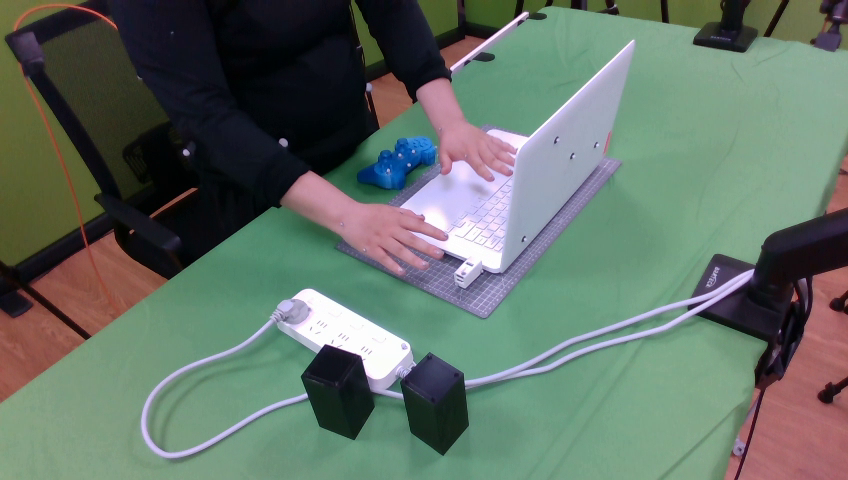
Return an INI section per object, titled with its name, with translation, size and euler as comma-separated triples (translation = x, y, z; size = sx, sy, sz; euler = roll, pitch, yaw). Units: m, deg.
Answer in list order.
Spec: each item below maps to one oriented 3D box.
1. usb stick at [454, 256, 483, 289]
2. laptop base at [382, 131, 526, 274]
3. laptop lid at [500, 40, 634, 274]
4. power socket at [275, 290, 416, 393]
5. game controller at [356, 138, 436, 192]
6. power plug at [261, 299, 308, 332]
[usb stick]
translation = 0.070, 0.044, 0.892
size = 0.021, 0.027, 0.059
euler = 24, 48, 32
[laptop base]
translation = 0.123, -0.081, 1.049
size = 0.233, 0.023, 0.355
euler = 20, 47, 33
[laptop lid]
translation = 0.218, -0.128, 0.905
size = 0.013, 0.242, 0.358
euler = 28, 50, 25
[power socket]
translation = -0.114, 0.132, 0.821
size = 0.225, 0.033, 0.072
euler = 24, 48, 31
[game controller]
translation = -0.048, -0.149, 1.136
size = 0.096, 0.052, 0.155
euler = 26, 51, 29
[power plug]
translation = -0.193, 0.109, 0.830
size = 0.073, 0.053, 0.035
euler = -35, 47, -23
